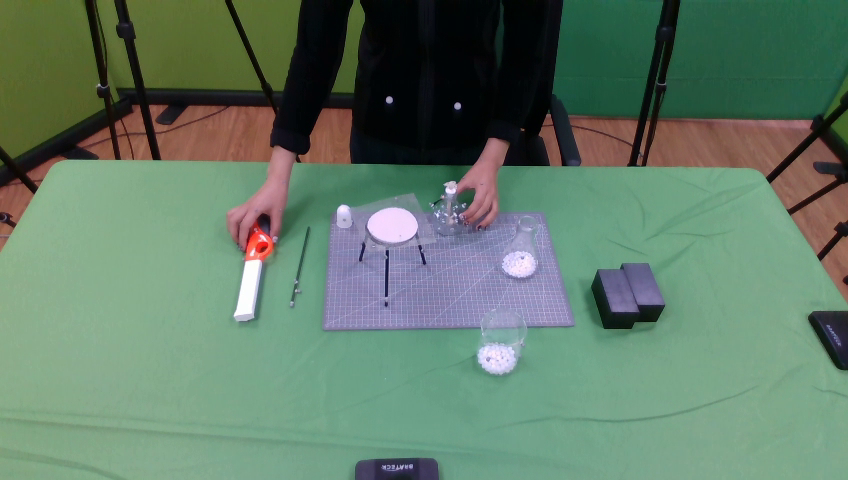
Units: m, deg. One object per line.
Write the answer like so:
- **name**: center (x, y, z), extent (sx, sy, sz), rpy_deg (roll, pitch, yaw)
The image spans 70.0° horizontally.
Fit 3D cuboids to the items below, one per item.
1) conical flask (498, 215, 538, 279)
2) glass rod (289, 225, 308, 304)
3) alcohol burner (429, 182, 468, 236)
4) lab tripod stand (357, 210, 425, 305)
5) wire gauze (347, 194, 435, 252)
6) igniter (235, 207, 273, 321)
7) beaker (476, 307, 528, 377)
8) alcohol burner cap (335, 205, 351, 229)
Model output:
- **conical flask**: center (0.183, 0.010, 1.132), extent (0.075, 0.122, 0.075), rpy_deg (2, 46, -2)
- **glass rod**: center (-0.236, 0.042, 1.149), extent (0.008, 0.008, 0.198), rpy_deg (3, 46, -1)
- **alcohol burner**: center (0.049, -0.067, 1.201), extent (0.078, 0.120, 0.077), rpy_deg (1, 46, -1)
- **lab tripod stand**: center (-0.060, 0.020, 1.094), extent (0.148, 0.132, 0.147), rpy_deg (3, 44, -2)
- **wire gauze**: center (-0.058, -0.029, 1.048), extent (0.125, 0.011, 0.120), rpy_deg (-12, 48, -16)
- **igniter**: center (-0.318, 0.034, 1.137), extent (0.057, 0.025, 0.274), rpy_deg (-8, 46, 3)
- **beaker**: center (0.122, 0.171, 0.991), extent (0.084, 0.101, 0.073), rpy_deg (-34, 56, -31)
- **alcohol burner cap**: center (-0.164, -0.049, 1.216), extent (0.034, 0.048, 0.033), rpy_deg (2, 45, -2)
